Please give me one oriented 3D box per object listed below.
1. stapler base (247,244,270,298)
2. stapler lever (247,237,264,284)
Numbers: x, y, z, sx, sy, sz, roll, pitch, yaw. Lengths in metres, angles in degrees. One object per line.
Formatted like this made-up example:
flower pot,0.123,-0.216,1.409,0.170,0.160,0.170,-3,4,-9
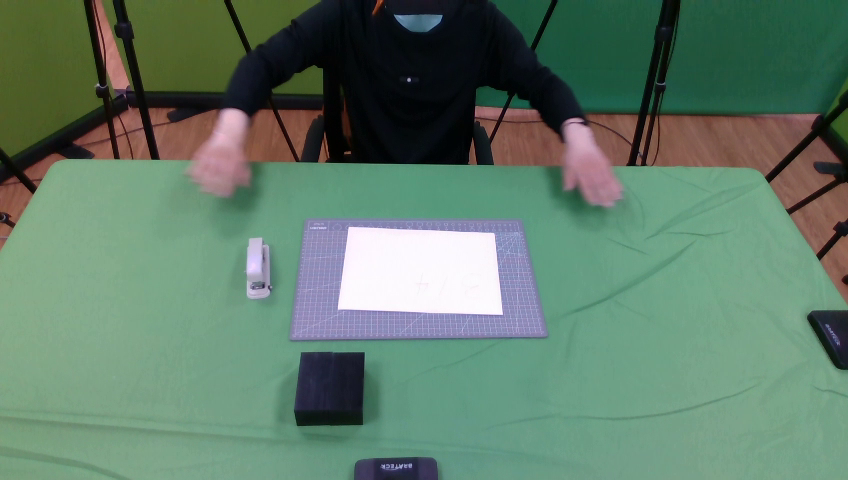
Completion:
stapler base,-0.308,0.050,1.123,0.041,0.024,0.129,-4,45,-12
stapler lever,-0.307,0.031,1.106,0.027,0.040,0.117,-4,45,-11
